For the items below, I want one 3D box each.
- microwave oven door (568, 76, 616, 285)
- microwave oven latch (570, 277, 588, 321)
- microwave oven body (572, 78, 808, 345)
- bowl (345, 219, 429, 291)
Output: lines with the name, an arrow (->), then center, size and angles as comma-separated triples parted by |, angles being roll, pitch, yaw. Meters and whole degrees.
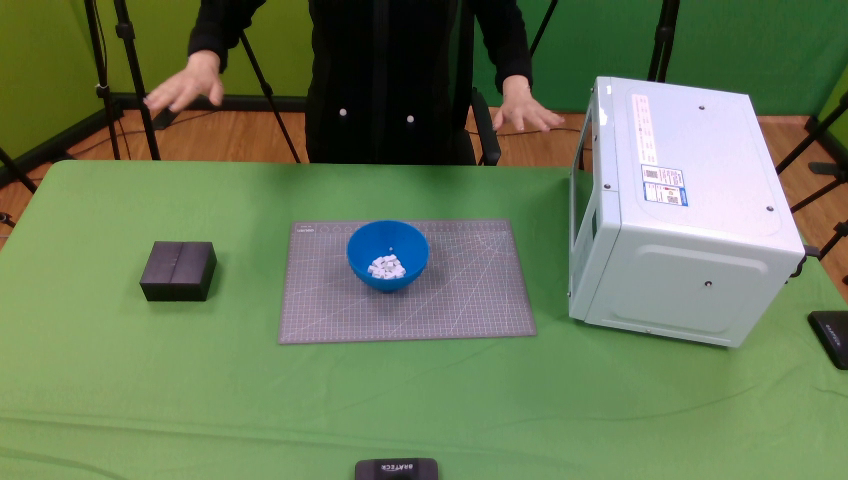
microwave oven door -> 0.319, -0.119, 1.161 | 0.039, 0.245, 0.354 | 9, 46, 5
microwave oven latch -> 0.275, 0.105, 1.083 | 0.030, 0.029, 0.079 | 9, 45, 6
microwave oven body -> 0.455, -0.063, 1.124 | 0.326, 0.261, 0.439 | 8, 45, 5
bowl -> -0.068, 0.041, 1.111 | 0.151, 0.077, 0.150 | 2, 46, -2
